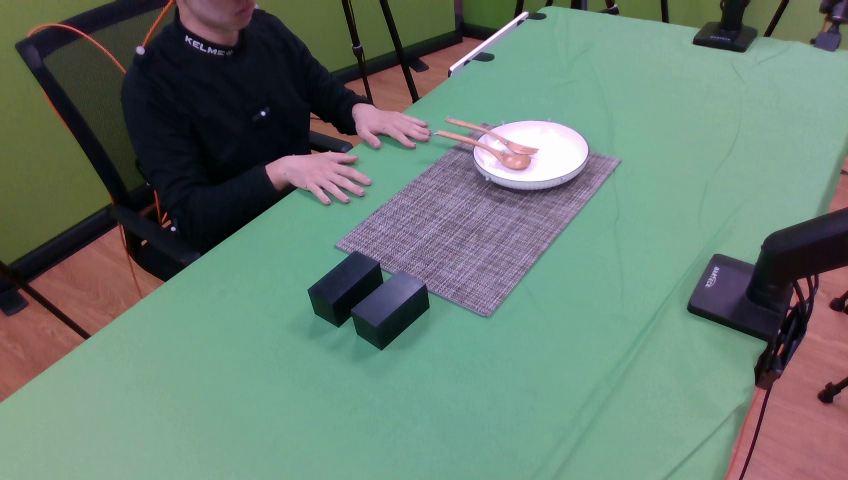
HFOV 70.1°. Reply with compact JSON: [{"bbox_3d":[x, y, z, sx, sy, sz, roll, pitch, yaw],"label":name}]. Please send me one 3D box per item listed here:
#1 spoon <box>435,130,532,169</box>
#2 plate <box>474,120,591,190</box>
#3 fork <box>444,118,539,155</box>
[{"bbox_3d":[0.106,-0.171,1.112,0.193,0.022,0.041,25,51,15],"label":"spoon"},{"bbox_3d":[0.196,-0.151,1.099,0.207,0.039,0.206,-4,40,4],"label":"plate"},{"bbox_3d":[0.123,-0.198,1.143,0.206,0.019,0.028,27,52,24],"label":"fork"}]
